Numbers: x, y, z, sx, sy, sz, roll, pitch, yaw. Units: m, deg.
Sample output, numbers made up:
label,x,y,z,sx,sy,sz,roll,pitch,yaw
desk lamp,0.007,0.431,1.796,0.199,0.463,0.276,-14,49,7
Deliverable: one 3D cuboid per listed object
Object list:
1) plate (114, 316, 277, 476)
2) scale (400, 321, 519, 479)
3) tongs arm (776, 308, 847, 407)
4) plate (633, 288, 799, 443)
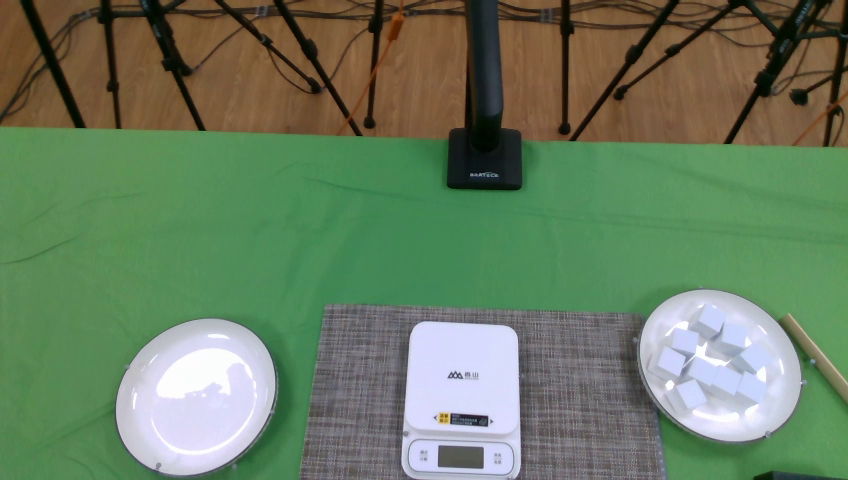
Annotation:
label,x,y,z,sx,sy,sz,roll,pitch,yaw
plate,-0.296,0.202,0.797,0.209,0.038,0.207,-1,62,1
scale,0.048,0.203,0.787,0.148,0.032,0.199,2,62,3
tongs arm,0.583,0.246,0.757,0.028,0.028,0.384,-25,64,-14
plate,0.378,0.165,0.801,0.208,0.039,0.206,0,62,1
